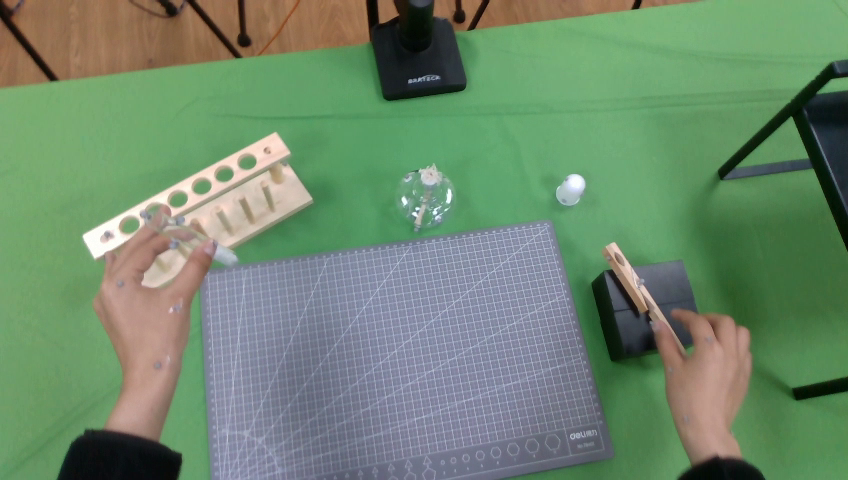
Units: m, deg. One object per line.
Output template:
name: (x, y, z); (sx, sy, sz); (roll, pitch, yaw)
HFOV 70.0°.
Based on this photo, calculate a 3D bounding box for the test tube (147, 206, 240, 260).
test tube: (-0.198, -0.002, 0.534); (0.017, 0.151, 0.017); (-1, 77, 5)

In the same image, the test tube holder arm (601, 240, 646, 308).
test tube holder arm: (0.238, 0.040, 0.716); (0.010, 0.015, 0.087); (-26, 76, -15)

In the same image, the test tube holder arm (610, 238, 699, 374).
test tube holder arm: (0.265, 0.076, 0.707); (0.013, 0.015, 0.177); (-27, 76, -16)

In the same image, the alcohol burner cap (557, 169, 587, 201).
alcohol burner cap: (0.195, -0.074, 0.792); (0.034, 0.048, 0.033); (1, 70, -2)

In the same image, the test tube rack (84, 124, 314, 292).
test tube rack: (-0.259, -0.038, 0.725); (0.242, 0.085, 0.066); (-32, 75, -13)

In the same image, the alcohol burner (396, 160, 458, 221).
alcohol burner: (0.005, -0.068, 0.739); (0.078, 0.119, 0.077); (1, 71, -4)
